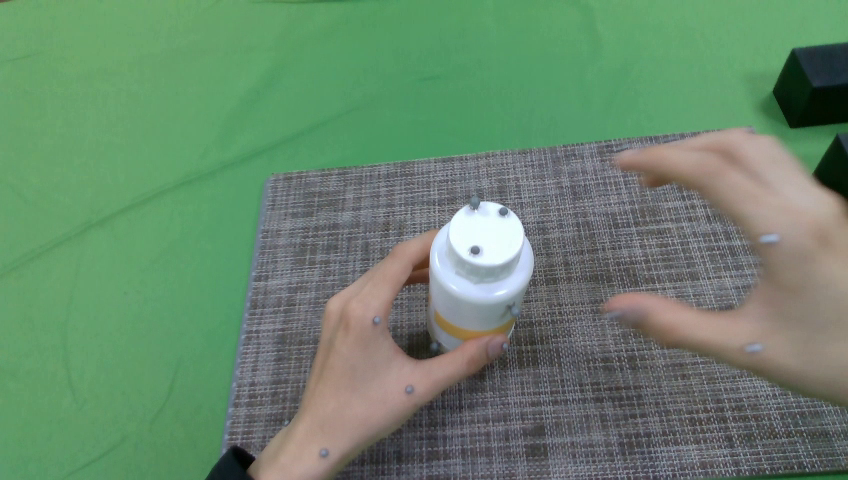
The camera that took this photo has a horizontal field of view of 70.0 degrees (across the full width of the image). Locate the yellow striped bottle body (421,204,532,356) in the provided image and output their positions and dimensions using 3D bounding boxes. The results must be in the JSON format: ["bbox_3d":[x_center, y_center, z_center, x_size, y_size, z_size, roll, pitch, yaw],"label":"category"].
[{"bbox_3d":[0.031,0.025,0.387,0.063,0.121,0.062,1,60,-2],"label":"yellow striped bottle body"}]

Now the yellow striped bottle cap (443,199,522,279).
[{"bbox_3d":[0.033,-0.001,0.343,0.044,0.019,0.044,1,58,-1],"label":"yellow striped bottle cap"}]
